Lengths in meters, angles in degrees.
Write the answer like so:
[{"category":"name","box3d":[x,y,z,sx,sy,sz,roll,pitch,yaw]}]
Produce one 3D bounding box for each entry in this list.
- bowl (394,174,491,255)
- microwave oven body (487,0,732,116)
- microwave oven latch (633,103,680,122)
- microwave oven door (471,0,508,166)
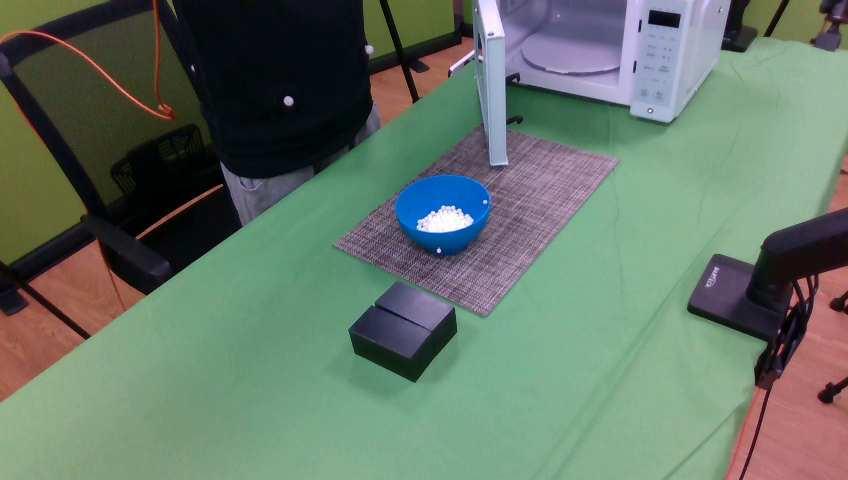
[{"category":"bowl","box3d":[0.032,-0.030,0.949,0.151,0.077,0.150,-4,40,4]},{"category":"microwave oven body","box3d":[0.377,-0.462,1.267,0.438,0.261,0.327,21,49,30]},{"category":"microwave oven latch","box3d":[0.443,-0.249,1.157,0.078,0.029,0.030,21,49,30]},{"category":"microwave oven door","box3d":[0.122,-0.340,1.154,0.039,0.245,0.354,-5,40,3]}]
